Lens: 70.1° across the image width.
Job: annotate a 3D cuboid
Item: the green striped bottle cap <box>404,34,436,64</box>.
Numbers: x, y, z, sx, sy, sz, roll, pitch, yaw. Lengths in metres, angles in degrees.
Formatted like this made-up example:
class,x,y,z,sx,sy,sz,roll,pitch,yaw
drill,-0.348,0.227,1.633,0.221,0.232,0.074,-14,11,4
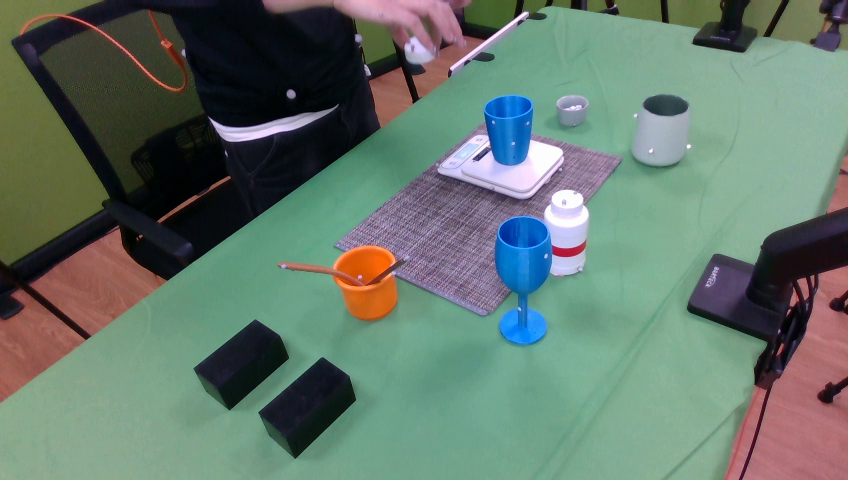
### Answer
class,x,y,z,sx,sy,sz,roll,pitch,yaw
green striped bottle cap,-0.006,-0.263,0.831,0.044,0.020,0.044,0,54,0

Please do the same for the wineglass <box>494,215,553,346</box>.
class,x,y,z,sx,sy,sz,roll,pitch,yaw
wineglass,0.127,0.055,0.770,0.074,0.173,0.073,-4,40,4

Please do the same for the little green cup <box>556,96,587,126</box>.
class,x,y,z,sx,sy,sz,roll,pitch,yaw
little green cup,0.295,-0.258,1.214,0.061,0.039,0.061,-4,42,4

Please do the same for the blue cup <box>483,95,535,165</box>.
class,x,y,z,sx,sy,sz,roll,pitch,yaw
blue cup,0.148,-0.188,1.053,0.092,0.100,0.092,-6,39,5

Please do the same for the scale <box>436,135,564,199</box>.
class,x,y,z,sx,sy,sz,roll,pitch,yaw
scale,0.137,-0.142,1.101,0.199,0.032,0.149,22,48,30

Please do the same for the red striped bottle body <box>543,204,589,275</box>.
class,x,y,z,sx,sy,sz,roll,pitch,yaw
red striped bottle body,0.206,-0.011,0.877,0.063,0.120,0.062,-5,41,5

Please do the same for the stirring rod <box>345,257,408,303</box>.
class,x,y,z,sx,sy,sz,roll,pitch,yaw
stirring rod,-0.067,0.057,0.815,0.014,0.175,0.006,-24,82,-38

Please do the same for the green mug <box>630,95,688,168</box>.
class,x,y,z,sx,sy,sz,roll,pitch,yaw
green mug,0.421,-0.201,1.081,0.092,0.105,0.125,5,42,15

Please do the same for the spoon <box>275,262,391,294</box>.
class,x,y,z,sx,sy,sz,roll,pitch,yaw
spoon,-0.120,0.050,0.830,0.041,0.195,0.021,33,98,45

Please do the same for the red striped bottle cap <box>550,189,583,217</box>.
class,x,y,z,sx,sy,sz,roll,pitch,yaw
red striped bottle cap,0.199,-0.052,0.843,0.044,0.018,0.044,-2,42,2
